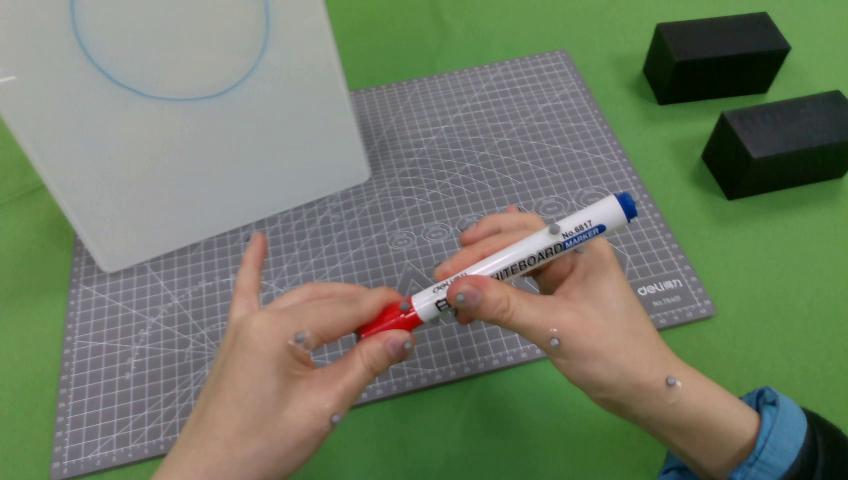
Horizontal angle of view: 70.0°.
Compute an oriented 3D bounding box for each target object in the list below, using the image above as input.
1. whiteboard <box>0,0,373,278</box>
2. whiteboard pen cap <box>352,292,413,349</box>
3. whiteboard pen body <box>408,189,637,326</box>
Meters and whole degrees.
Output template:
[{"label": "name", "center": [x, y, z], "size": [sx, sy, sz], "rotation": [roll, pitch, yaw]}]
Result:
[{"label": "whiteboard", "center": [-0.190, -0.164, 0.437], "size": [0.217, 0.308, 0.142], "rotation": [-21, 38, -11]}, {"label": "whiteboard pen cap", "center": [-0.018, 0.040, 0.303], "size": [0.032, 0.017, 0.017], "rotation": [-29, 59, -3]}, {"label": "whiteboard pen body", "center": [0.036, 0.015, 0.292], "size": [0.140, 0.017, 0.016], "rotation": [-29, 56, 12]}]
